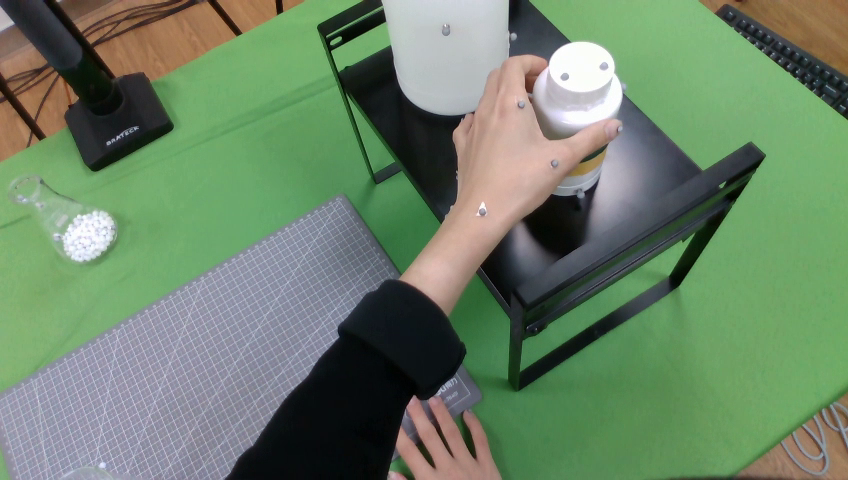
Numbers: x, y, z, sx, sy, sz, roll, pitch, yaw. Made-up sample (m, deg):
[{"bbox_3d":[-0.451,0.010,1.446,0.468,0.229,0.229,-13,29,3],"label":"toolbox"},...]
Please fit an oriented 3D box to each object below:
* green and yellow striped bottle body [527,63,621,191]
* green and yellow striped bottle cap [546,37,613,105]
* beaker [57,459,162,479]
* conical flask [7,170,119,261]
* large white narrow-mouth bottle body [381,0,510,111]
[{"bbox_3d":[0.112,-0.093,0.460,0.063,0.120,0.062,-2,64,5],"label":"green and yellow striped bottle body"},{"bbox_3d":[0.106,-0.116,0.414,0.045,0.020,0.045,-2,66,5],"label":"green and yellow striped bottle cap"},{"bbox_3d":[-0.284,0.247,0.551,0.084,0.101,0.073,-22,63,-3],"label":"beaker"},{"bbox_3d":[-0.414,-0.032,0.689,0.075,0.123,0.074,-3,64,6],"label":"conical flask"},{"bbox_3d":[0.016,-0.197,0.480,0.101,0.196,0.101,-3,64,7],"label":"large white narrow-mouth bottle body"}]
